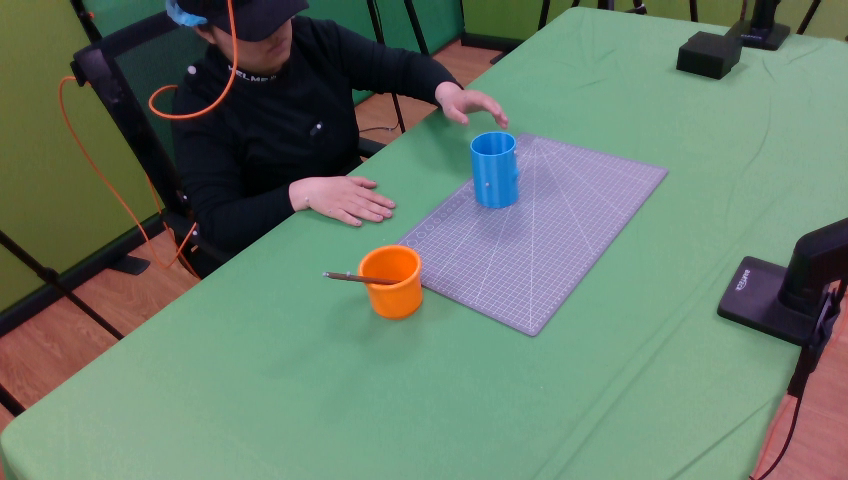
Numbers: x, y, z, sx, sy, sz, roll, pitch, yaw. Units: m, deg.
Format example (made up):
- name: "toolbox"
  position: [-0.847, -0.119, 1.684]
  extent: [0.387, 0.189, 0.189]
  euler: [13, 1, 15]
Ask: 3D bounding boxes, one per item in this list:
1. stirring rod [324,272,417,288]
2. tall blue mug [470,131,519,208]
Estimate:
- name: "stirring rod"
  position: [-0.069, 0.057, 0.840]
  extent: [0.014, 0.006, 0.178]
  euler: [27, 10, 39]
- name: "tall blue mug"
  position: [0.122, -0.129, 1.042]
  extent: [0.078, 0.108, 0.106]
  euler: [-7, 40, 5]
